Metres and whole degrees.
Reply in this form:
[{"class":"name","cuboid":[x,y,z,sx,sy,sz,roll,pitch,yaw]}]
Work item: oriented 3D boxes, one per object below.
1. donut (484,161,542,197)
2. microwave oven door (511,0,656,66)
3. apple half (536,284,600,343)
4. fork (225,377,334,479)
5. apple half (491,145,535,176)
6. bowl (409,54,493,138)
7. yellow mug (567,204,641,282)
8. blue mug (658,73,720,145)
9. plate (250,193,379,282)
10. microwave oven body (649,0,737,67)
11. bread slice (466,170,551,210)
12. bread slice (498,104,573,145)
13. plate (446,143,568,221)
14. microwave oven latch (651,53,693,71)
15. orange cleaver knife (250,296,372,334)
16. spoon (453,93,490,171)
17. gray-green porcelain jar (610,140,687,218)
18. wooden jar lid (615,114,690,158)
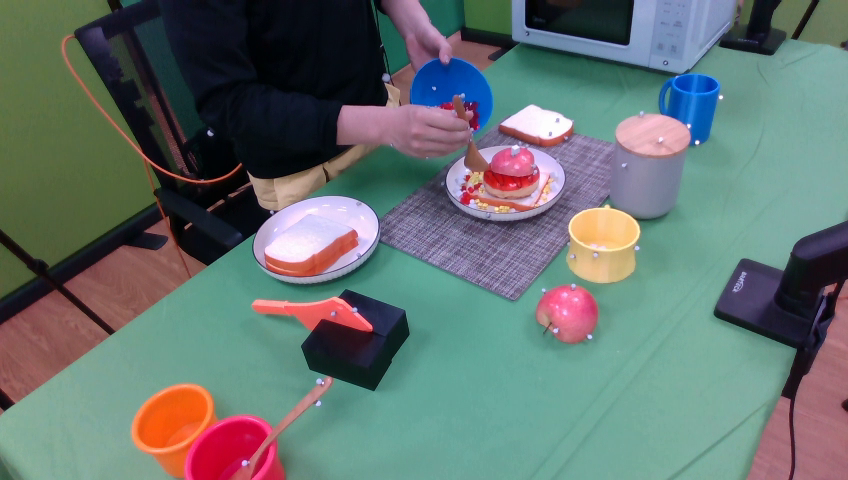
[{"class":"donut","cuboid":[0.149,-0.109,1.016,0.099,0.048,0.098,-4,40,4]},{"class":"microwave oven door","cuboid":[0.351,-0.539,1.348,0.353,0.245,0.039,24,50,31]},{"class":"apple half","cuboid":[0.196,0.091,0.815,0.075,0.053,0.080,-22,42,-20]},{"class":"fork","cuboid":[-0.163,0.216,0.646,0.207,0.019,0.028,-49,42,16]},{"class":"apple half","cuboid":[0.147,-0.138,0.993,0.081,0.033,0.081,1,37,0]},{"class":"bowl","cuboid":[0.040,-0.243,1.077,0.152,0.076,0.151,3,78,-13]},{"class":"yellow mug","cuboid":[0.268,-0.005,0.905,0.099,0.064,0.130,6,42,16]},{"class":"blue mug","cuboid":[0.483,-0.250,1.127,0.082,0.106,0.115,-26,44,-19]},{"class":"plate","cuboid":[-0.174,-0.001,0.984,0.209,0.038,0.208,-3,40,3]},{"class":"microwave oven body","cuboid":[0.475,-0.602,1.411,0.438,0.261,0.327,23,50,32]},{"class":"bread slice","cuboid":[0.141,-0.093,1.041,0.133,0.018,0.107,10,43,20]},{"class":"bread slice","cuboid":[0.231,-0.231,1.205,0.105,0.019,0.130,-36,47,-28]},{"class":"plate","cuboid":[0.142,-0.097,1.045,0.207,0.039,0.206,-4,40,4]},{"class":"microwave oven latch","cuboid":[0.532,-0.386,1.301,0.078,0.029,0.030,27,52,34]},{"class":"orange cleaver knife","cuboid":[-0.158,0.103,0.828,0.210,0.078,0.012,-4,43,39]},{"class":"spoon","cuboid":[0.065,-0.156,0.897,0.041,0.195,0.021,3,62,18]},{"class":"gray-green porcelain jar","cuboid":[0.354,-0.106,0.964,0.106,0.127,0.105,-4,41,4]},{"class":"wooden jar lid","cuboid":[0.347,-0.155,0.923,0.108,0.021,0.108,-3,44,4]}]
